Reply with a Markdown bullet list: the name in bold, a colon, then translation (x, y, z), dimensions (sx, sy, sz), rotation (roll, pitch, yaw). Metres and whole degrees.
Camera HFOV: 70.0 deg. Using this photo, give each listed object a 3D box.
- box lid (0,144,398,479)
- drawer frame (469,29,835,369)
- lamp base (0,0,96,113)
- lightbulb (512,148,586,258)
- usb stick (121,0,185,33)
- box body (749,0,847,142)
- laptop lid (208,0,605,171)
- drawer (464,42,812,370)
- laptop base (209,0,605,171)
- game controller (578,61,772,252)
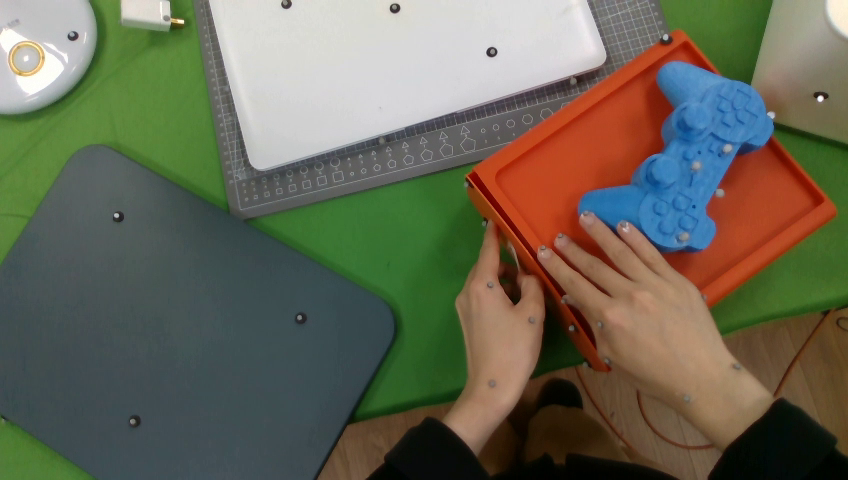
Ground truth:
- **box lid**: translation (-0.237, 0.091, 0.559), dimensions (0.370, 0.015, 0.263), rotation (28, 82, 8)
- **drawer frame**: translation (0.179, -0.033, 0.514), dimensions (0.213, 0.083, 0.200), rotation (-35, 78, -3)
- **lamp base**: translation (-0.432, -0.231, 0.552), dimensions (0.160, 0.181, 0.178), rotation (-43, 75, -5)
- **lightbulb**: translation (0.115, -0.035, 0.527), dimensions (0.059, 0.060, 0.107), rotation (22, 70, 9)
- **usb stick**: translation (-0.272, -0.226, 0.609), dimensions (0.059, 0.021, 0.027), rotation (2, 81, -29)
- **box body**: translation (0.453, -0.253, 0.498), dimensions (0.253, 0.161, 0.363), rotation (18, 81, 8)
- **laptop lid**: translation (-0.027, -0.222, 0.589), dimensions (0.357, 0.013, 0.240), rotation (-15, 80, 1)
- **drawer**: translation (0.172, -0.028, 0.514), dimensions (0.212, 0.073, 0.193), rotation (-35, 78, -2)
- **laptop base**: translation (-0.027, -0.222, 0.601), dimensions (0.354, 0.023, 0.234), rotation (-17, 81, 1)
- **game controller**: translation (0.197, -0.063, 0.467), dimensions (0.097, 0.052, 0.155), rotation (32, 84, 5)
